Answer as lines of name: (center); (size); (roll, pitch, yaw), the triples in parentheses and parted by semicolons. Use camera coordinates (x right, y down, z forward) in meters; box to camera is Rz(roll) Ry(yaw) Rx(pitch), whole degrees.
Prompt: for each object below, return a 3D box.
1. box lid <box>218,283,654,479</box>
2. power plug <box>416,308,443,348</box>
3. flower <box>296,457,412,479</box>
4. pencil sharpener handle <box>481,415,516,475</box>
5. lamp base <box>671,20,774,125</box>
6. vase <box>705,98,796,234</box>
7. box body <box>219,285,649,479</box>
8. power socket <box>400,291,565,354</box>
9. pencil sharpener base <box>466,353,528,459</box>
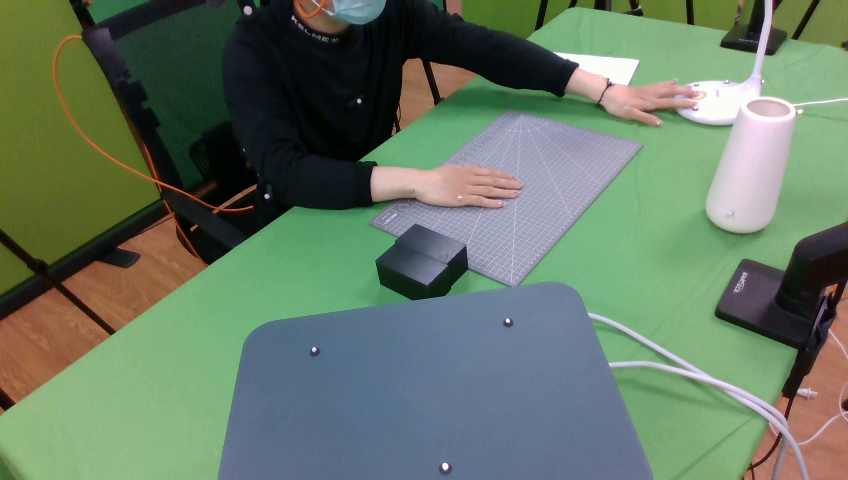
box lid: (-0.004, 0.154, 0.571); (0.372, 0.015, 0.261); (-8, 40, -1)
power plug: (0.004, 0.121, 0.787); (0.035, 0.053, 0.072); (2, 46, 8)
flower: (0.017, 0.270, 0.655); (0.360, 0.038, 0.044); (3, 18, 21)
pencil sharpener handle: (0.076, 0.211, 0.619); (0.036, 0.068, 0.030); (1, 42, 1)
lamp base: (0.581, -0.332, 1.154); (0.179, 0.181, 0.160); (2, 41, 7)
vase: (0.480, -0.104, 0.889); (0.098, 0.201, 0.097); (-4, 42, 4)
box body: (0.005, 0.210, 0.619); (0.364, 0.161, 0.252); (-8, 40, -1)
power socket: (0.079, 0.111, 0.823); (0.227, 0.033, 0.072); (-5, 41, 1)
pencil sharpener base: (0.081, 0.186, 0.665); (0.061, 0.107, 0.076); (-4, 41, 5)
